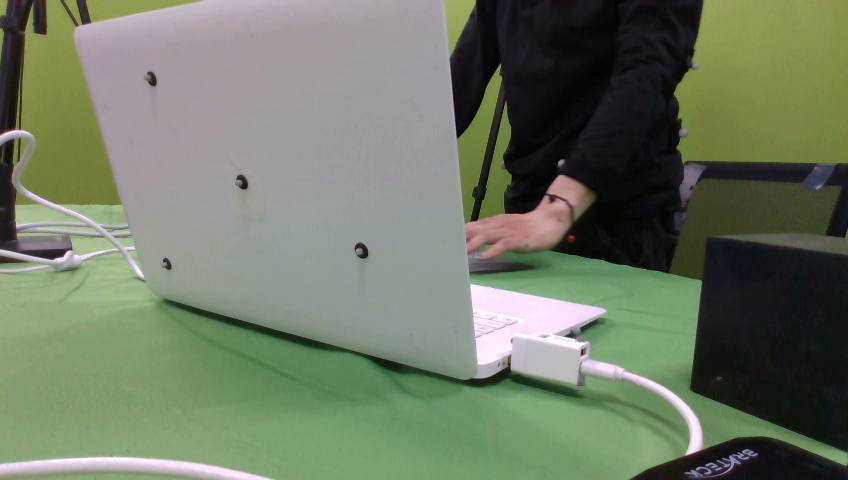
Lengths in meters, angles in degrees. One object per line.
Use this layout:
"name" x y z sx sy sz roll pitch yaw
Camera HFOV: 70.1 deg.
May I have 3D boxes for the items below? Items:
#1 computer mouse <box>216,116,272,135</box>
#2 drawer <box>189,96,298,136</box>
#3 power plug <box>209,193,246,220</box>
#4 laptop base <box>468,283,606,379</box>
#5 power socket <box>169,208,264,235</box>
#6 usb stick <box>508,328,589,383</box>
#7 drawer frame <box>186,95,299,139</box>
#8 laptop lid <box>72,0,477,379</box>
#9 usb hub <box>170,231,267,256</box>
"computer mouse" -0.402 -0.258 1.353 0.118 0.041 0.062 -6 16 -34
"drawer" -0.414 -0.275 1.376 0.195 0.073 0.210 -3 9 -31
"power plug" -0.388 -0.067 1.205 0.072 0.052 0.035 3 8 26
"laptop base" -0.042 0.058 0.554 0.352 0.023 0.237 8 7 35
"power socket" -0.381 -0.038 1.128 0.072 0.032 0.227 4 8 16
"usb stick" 0.072 0.072 0.383 0.059 0.027 0.021 2 2 34
"drawer frame" -0.417 -0.277 1.378 0.203 0.082 0.212 -3 8 -32
"laptop lid" -0.125 -0.042 0.418 0.355 0.241 0.013 9 25 34
"usb hub" -0.290 0.004 0.862 0.049 0.025 0.126 10 11 42
